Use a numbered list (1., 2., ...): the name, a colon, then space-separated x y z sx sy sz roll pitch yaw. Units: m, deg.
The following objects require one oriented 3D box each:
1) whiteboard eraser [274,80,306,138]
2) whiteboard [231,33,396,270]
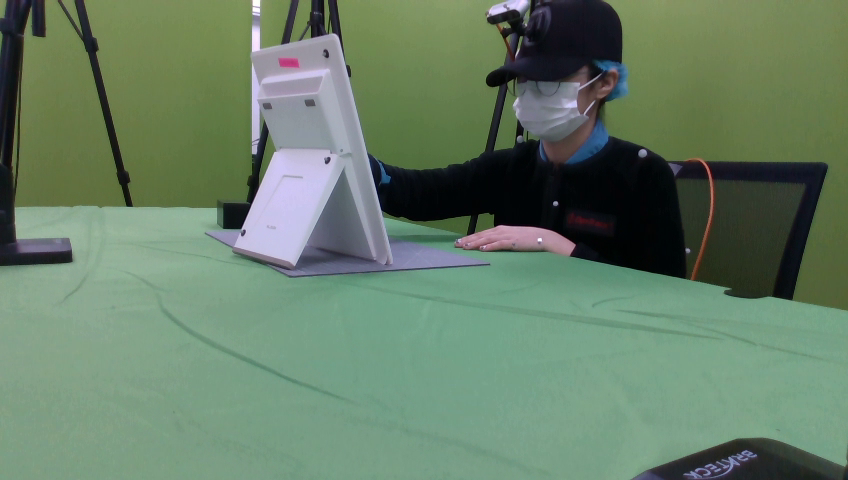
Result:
1. whiteboard eraser: -0.193 -0.187 0.871 0.019 0.041 0.101 -29 -15 -36
2. whiteboard: -0.193 -0.094 0.805 0.144 0.305 0.216 -29 25 -35
